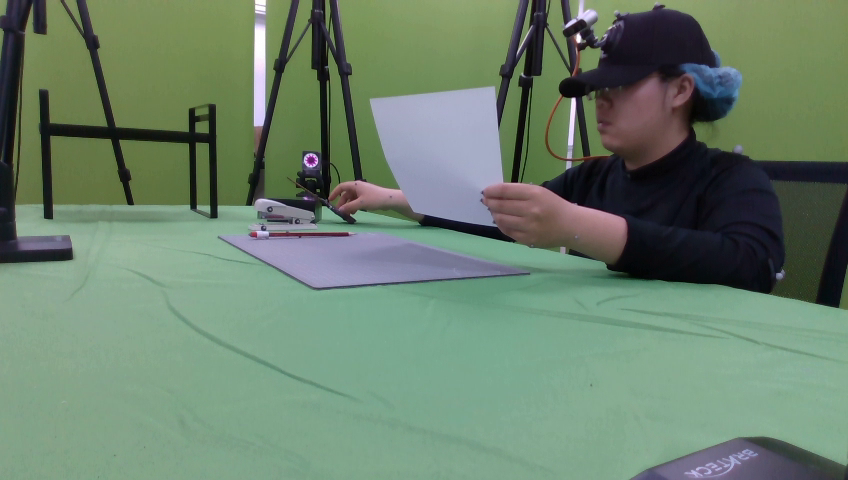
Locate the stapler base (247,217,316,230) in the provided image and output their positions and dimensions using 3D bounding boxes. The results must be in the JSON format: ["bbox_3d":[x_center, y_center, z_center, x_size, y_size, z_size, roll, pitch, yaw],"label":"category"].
[{"bbox_3d":[-0.276,-0.033,1.172,0.131,0.024,0.041,0,10,-37],"label":"stapler base"}]

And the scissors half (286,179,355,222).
[{"bbox_3d":[-0.228,-0.088,1.336,0.175,0.013,0.040,31,0,-5],"label":"scissors half"}]

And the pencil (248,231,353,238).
[{"bbox_3d":[-0.206,-0.009,1.039,0.195,0.012,0.012,0,8,-36],"label":"pencil"}]

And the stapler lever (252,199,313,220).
[{"bbox_3d":[-0.273,-0.058,1.170,0.119,0.040,0.026,0,10,-37],"label":"stapler lever"}]

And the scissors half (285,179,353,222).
[{"bbox_3d":[-0.230,-0.088,1.317,0.175,0.013,0.040,31,6,7],"label":"scissors half"}]
